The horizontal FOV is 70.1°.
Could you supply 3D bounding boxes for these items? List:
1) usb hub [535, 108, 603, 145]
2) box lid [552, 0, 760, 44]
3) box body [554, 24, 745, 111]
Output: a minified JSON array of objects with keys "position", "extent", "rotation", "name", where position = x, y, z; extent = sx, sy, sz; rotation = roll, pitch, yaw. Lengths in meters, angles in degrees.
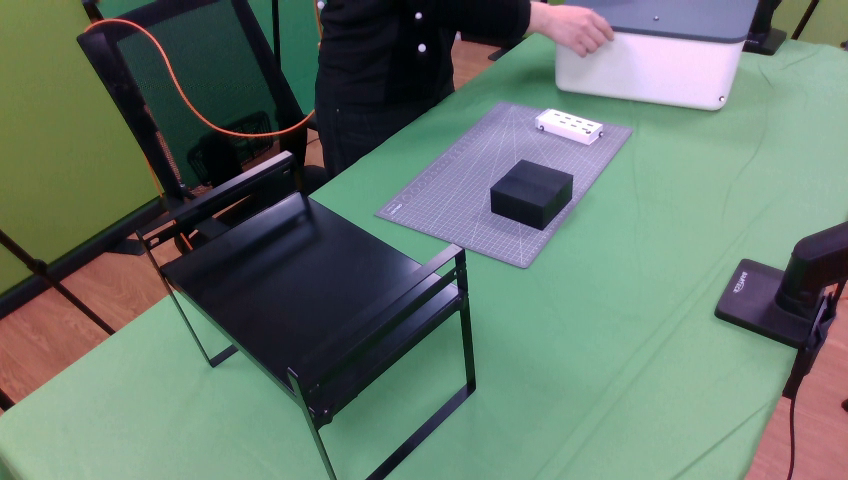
[{"position":[0.283,-0.224,1.188],"extent":[0.124,0.025,0.049],"rotation":[28,52,35],"name":"usb hub"},{"position":[0.471,-0.473,1.233],"extent":[0.369,0.015,0.263],"rotation":[16,45,24],"name":"box lid"},{"position":[0.480,-0.417,1.281],"extent":[0.362,0.161,0.254],"rotation":[15,46,24],"name":"box body"}]
